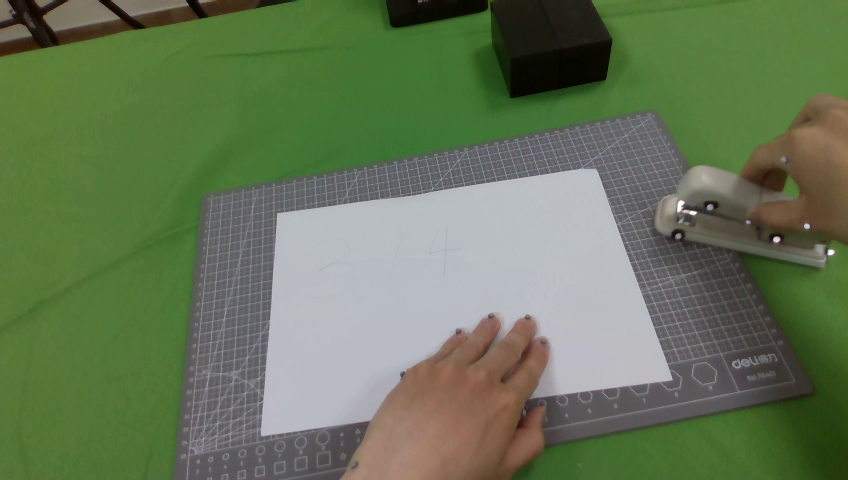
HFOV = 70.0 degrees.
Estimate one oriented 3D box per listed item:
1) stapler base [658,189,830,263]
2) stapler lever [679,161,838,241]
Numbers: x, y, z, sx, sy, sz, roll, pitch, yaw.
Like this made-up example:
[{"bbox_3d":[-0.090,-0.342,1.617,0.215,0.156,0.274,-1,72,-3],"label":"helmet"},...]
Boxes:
[{"bbox_3d":[0.259,-0.018,0.487,0.130,0.024,0.041,15,63,14],"label":"stapler base"},{"bbox_3d":[0.258,-0.031,0.466,0.117,0.040,0.026,15,63,14],"label":"stapler lever"}]
